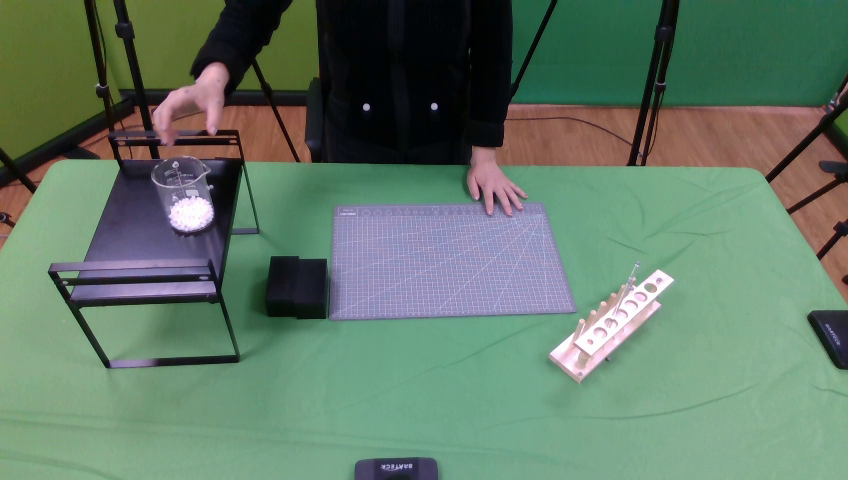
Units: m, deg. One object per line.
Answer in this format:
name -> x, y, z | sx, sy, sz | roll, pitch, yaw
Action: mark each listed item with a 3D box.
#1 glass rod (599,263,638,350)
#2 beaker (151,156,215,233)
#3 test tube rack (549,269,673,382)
glass rod -> 0.311, 0.112, 0.976 | 0.008, 0.200, 0.008 | 4, 40, -3
beaker -> -0.364, -0.068, 0.933 | 0.084, 0.101, 0.073 | -11, 48, -15
test tube rack -> 0.325, 0.134, 1.047 | 0.242, 0.085, 0.066 | -32, 56, -30
